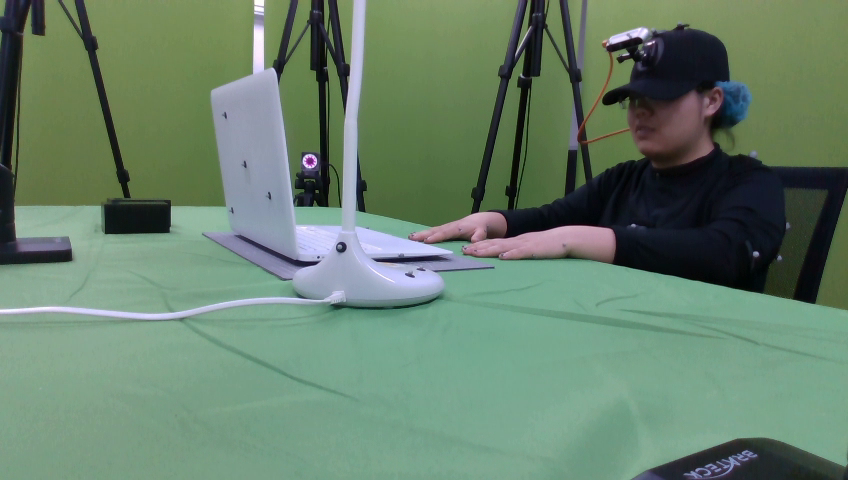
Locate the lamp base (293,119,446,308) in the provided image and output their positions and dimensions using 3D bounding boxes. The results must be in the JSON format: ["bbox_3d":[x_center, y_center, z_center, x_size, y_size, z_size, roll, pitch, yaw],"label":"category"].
[{"bbox_3d":[-0.056,-0.030,0.616,0.160,0.180,0.179,4,10,8],"label":"lamp base"}]

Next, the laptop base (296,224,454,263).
[{"bbox_3d":[-0.143,0.004,0.957,0.237,0.023,0.352,2,7,-32],"label":"laptop base"}]

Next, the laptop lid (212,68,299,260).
[{"bbox_3d":[-0.253,-0.110,0.872,0.013,0.241,0.355,-11,14,-30],"label":"laptop lid"}]
